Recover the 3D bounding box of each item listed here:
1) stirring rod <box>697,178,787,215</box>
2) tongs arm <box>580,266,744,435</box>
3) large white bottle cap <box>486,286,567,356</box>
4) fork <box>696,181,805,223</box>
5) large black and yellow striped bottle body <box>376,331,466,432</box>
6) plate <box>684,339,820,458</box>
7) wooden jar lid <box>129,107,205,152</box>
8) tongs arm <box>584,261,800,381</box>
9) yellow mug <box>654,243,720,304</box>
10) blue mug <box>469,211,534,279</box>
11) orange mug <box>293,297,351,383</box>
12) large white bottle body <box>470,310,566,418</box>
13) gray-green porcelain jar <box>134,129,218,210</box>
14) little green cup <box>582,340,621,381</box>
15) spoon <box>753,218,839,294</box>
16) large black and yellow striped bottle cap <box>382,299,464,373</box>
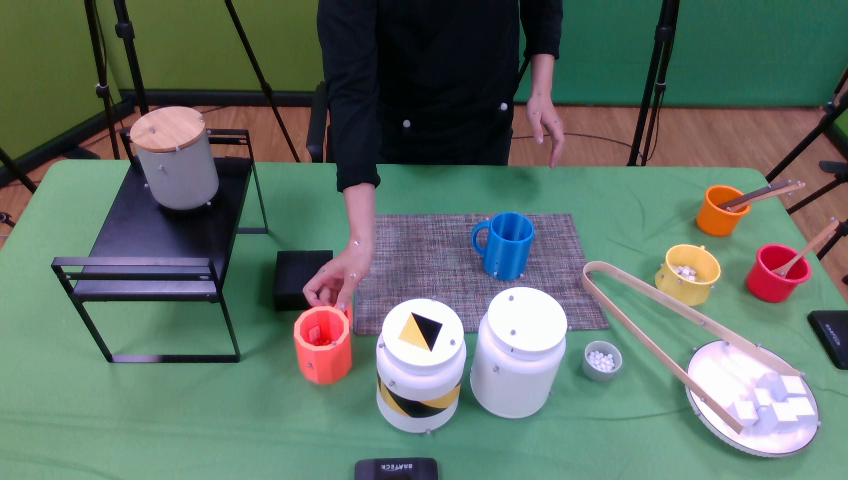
[{"bbox_3d":[0.650,-0.088,1.246,0.006,0.176,0.014,29,50,-39],"label":"stirring rod"},{"bbox_3d":[0.384,0.173,1.028,0.028,0.028,0.385,-25,46,-15],"label":"tongs arm"},{"bbox_3d":[0.147,0.114,0.869,0.115,0.018,0.114,3,46,-3],"label":"large white bottle cap"},{"bbox_3d":[0.659,-0.077,1.232,0.207,0.019,0.028,-26,35,34],"label":"fork"},{"bbox_3d":[-0.007,0.189,0.905,0.131,0.185,0.130,2,47,-2],"label":"large black and yellow striped bottle body"},{"bbox_3d":[0.523,0.256,0.982,0.208,0.039,0.206,2,46,-2],"label":"plate"},{"bbox_3d":[-0.385,-0.163,0.915,0.108,0.021,0.107,2,47,-2],"label":"wooden jar lid"},{"bbox_3d":[0.451,0.137,1.063,0.051,0.027,0.382,-34,50,-27],"label":"tongs arm"},{"bbox_3d":[0.504,0.054,1.154,0.099,0.064,0.130,28,50,22],"label":"yellow mug"},{"bbox_3d":[0.141,0.005,1.140,0.116,0.106,0.082,18,48,13],"label":"blue mug"},{"bbox_3d":[-0.155,0.155,0.984,0.083,0.101,0.126,20,53,13],"label":"orange mug"},{"bbox_3d":[0.142,0.173,0.930,0.131,0.185,0.130,2,46,-2],"label":"large white bottle body"},{"bbox_3d":[-0.388,-0.120,0.960,0.106,0.127,0.105,2,46,-2],"label":"gray-green porcelain jar"},{"bbox_3d":[0.295,0.204,1.015,0.061,0.039,0.061,2,45,-2],"label":"little green cup"},{"bbox_3d":[0.700,0.031,1.138,0.194,0.022,0.041,-47,55,14],"label":"spoon"},{"bbox_3d":[-0.002,0.132,0.843,0.115,0.019,0.114,2,46,-1],"label":"large black and yellow striped bottle cap"}]
